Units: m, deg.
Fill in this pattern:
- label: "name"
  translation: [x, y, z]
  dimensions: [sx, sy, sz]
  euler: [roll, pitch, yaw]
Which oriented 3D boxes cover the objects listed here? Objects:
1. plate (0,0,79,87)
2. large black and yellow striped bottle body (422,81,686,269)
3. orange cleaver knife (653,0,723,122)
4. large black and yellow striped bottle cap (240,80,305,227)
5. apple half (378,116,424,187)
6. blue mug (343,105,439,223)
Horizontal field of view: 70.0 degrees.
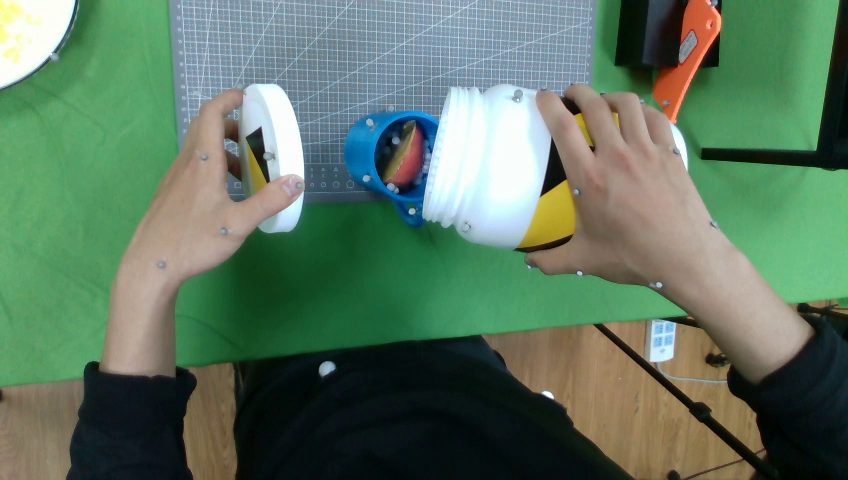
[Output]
- label: "plate"
  translation: [-0.381, -0.218, 0.466]
  dimensions: [0.210, 0.038, 0.210]
  euler: [-4, 104, -19]
- label: "large black and yellow striped bottle body"
  translation: [0.098, -0.055, 0.495]
  dimensions: [0.184, 0.130, 0.131]
  euler: [11, 97, -6]
- label: "orange cleaver knife"
  translation: [0.290, -0.184, 0.705]
  dimensions: [0.012, 0.076, 0.213]
  euler: [0, 128, -12]
- label: "large black and yellow striped bottle cap"
  translation: [-0.121, -0.066, 0.474]
  dimensions: [0.019, 0.114, 0.115]
  euler: [-8, 104, -29]
- label: "apple half"
  translation: [-0.017, -0.081, 0.590]
  dimensions: [0.033, 0.081, 0.081]
  euler: [30, 90, -15]
- label: "blue mug"
  translation: [-0.024, -0.073, 0.595]
  dimensions: [0.082, 0.105, 0.117]
  euler: [-19, 108, -16]
